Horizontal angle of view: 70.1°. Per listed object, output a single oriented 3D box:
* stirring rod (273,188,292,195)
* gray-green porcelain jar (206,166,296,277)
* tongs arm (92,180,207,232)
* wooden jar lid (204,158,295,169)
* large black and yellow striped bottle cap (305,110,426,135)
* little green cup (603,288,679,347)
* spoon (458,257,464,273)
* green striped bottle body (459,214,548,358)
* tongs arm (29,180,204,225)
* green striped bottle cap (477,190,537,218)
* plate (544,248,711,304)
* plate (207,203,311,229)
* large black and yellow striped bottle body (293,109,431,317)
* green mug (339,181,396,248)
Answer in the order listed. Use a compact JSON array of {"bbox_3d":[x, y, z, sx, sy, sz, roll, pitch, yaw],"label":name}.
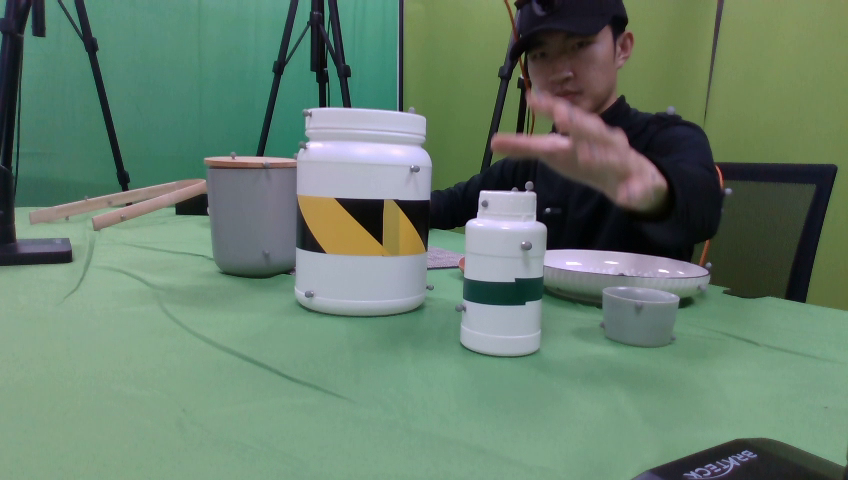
[{"bbox_3d":[-0.353,-0.122,1.519,0.006,0.014,0.176,2,7,1],"label":"stirring rod"},{"bbox_3d":[-0.201,-0.024,0.724,0.106,0.126,0.106,-1,9,1],"label":"gray-green porcelain jar"},{"bbox_3d":[-0.534,-0.076,1.221,0.028,0.028,0.388,-2,15,12],"label":"tongs arm"},{"bbox_3d":[-0.202,-0.086,0.714,0.108,0.020,0.108,3,11,0],"label":"wooden jar lid"},{"bbox_3d":[-0.055,-0.110,0.574,0.115,0.019,0.115,1,7,0],"label":"large black and yellow striped bottle cap"},{"bbox_3d":[0.180,0.064,0.505,0.061,0.038,0.061,2,6,0],"label":"little green cup"},{"bbox_3d":[0.059,0.044,0.696,0.041,0.021,0.193,20,7,0],"label":"spoon"},{"bbox_3d":[0.061,0.024,0.461,0.063,0.119,0.063,2,7,0],"label":"green striped bottle body"},{"bbox_3d":[-0.609,-0.083,1.245,0.050,0.026,0.386,5,16,23],"label":"tongs arm"},{"bbox_3d":[0.062,-0.027,0.453,0.044,0.020,0.044,2,3,0],"label":"green striped bottle cap"},{"bbox_3d":[0.219,0.042,0.706,0.209,0.038,0.209,2,7,0],"label":"plate"},{"bbox_3d":[-0.342,-0.050,1.259,0.208,0.039,0.207,2,7,0],"label":"plate"},{"bbox_3d":[-0.060,-0.028,0.584,0.131,0.184,0.130,3,7,0],"label":"large black and yellow striped bottle body"},{"bbox_3d":[-0.097,-0.044,0.995,0.093,0.105,0.125,-1,8,-21],"label":"green mug"}]
